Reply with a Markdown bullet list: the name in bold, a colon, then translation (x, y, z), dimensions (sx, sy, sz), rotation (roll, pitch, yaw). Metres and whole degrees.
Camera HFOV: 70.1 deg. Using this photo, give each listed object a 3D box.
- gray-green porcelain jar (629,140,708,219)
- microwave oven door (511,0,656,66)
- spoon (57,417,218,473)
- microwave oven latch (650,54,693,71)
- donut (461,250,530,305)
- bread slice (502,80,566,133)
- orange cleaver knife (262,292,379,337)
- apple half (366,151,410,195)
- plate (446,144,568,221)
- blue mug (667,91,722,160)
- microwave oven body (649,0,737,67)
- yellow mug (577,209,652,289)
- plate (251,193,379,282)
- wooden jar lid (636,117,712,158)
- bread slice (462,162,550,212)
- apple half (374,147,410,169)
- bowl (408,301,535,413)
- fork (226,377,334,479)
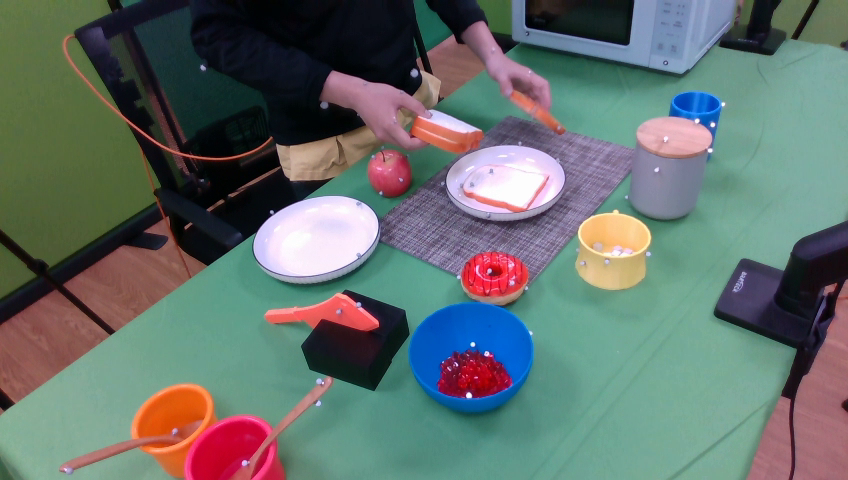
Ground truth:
- **gray-green porcelain jar**: translation (0.383, -0.105, 0.958), dimensions (0.106, 0.127, 0.105), rotation (-4, 41, 4)
- **microwave oven door**: translation (0.351, -0.540, 1.349), dimensions (0.353, 0.245, 0.039), rotation (24, 50, 31)
- **spoon**: translation (-0.304, 0.221, 0.661), dimensions (0.041, 0.195, 0.021), rotation (19, 92, 27)
- **microwave oven latch**: translation (0.531, -0.386, 1.301), dimensions (0.078, 0.029, 0.030), rotation (26, 51, 33)
- **donut**: translation (0.103, 0.053, 0.872), dimensions (0.099, 0.048, 0.098), rotation (-4, 40, 4)
- **bread slice**: translation (0.208, -0.246, 1.133), dimensions (0.019, 0.106, 0.130), rotation (-52, 44, 15)
- **orange cleaver knife**: translation (-0.145, 0.107, 0.821), dimensions (0.210, 0.077, 0.012), rotation (-13, 36, 43)
- **apple half**: translation (-0.070, -0.114, 1.075), dimensions (0.080, 0.075, 0.053), rotation (17, 50, 23)
- **plate**: translation (0.142, -0.096, 1.045), dimensions (0.207, 0.039, 0.206), rotation (-4, 40, 4)
- **blue mug**: translation (0.474, -0.207, 1.079), dimensions (0.082, 0.106, 0.116), rotation (4, 42, 13)
- **microwave oven body**: translation (0.475, -0.602, 1.411), dimensions (0.438, 0.261, 0.327), rotation (23, 50, 32)
- **yellow mug**: translation (0.279, 0.004, 0.893), dimensions (0.099, 0.064, 0.130), rotation (5, 42, 14)
- **plate**: translation (-0.174, -0.001, 0.984), dimensions (0.209, 0.038, 0.208), rotation (-4, 40, 4)
- **wooden jar lid**: translation (0.377, -0.151, 0.917), dimensions (0.108, 0.021, 0.108), rotation (-2, 42, 3)
- **bread slice**: translation (0.135, -0.094, 1.045), dimensions (0.133, 0.018, 0.107), rotation (15, 45, 23)
- **apple half**: translation (-0.052, -0.139, 1.100), dimensions (0.081, 0.082, 0.033), rotation (18, 52, 26)
- **bowl**: translation (0.060, 0.156, 0.739), dimensions (0.151, 0.077, 0.150), rotation (-4, 40, 4)
- **fork**: translation (-0.163, 0.216, 0.647), dimensions (0.207, 0.019, 0.028), rotation (-49, 41, 16)
